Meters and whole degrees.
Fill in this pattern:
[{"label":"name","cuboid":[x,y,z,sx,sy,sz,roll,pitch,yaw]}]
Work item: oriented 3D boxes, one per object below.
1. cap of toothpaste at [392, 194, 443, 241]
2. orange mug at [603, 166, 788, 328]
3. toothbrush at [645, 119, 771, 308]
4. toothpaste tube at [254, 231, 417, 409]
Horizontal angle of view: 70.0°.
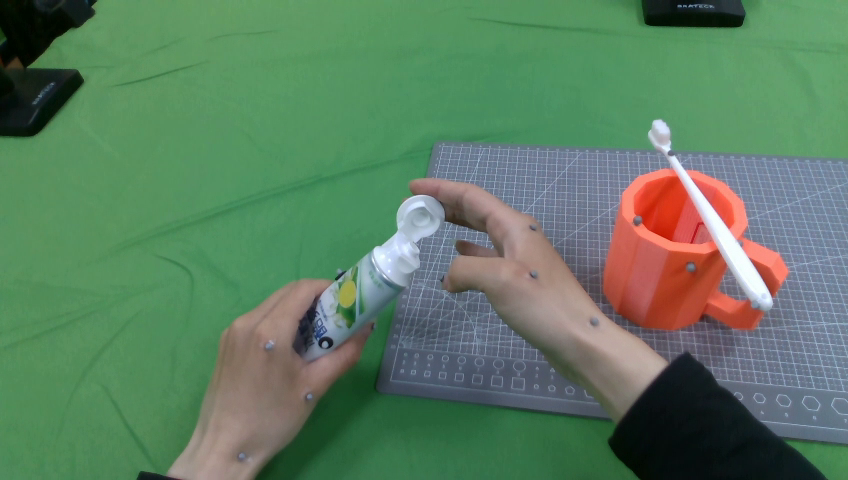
[{"label":"cap of toothpaste","cuboid":[-0.005,-0.014,0.419,0.037,0.037,0.011,-9,31,-2]},{"label":"orange mug","cuboid":[0.203,0.014,0.463,0.125,0.102,0.083,29,57,32]},{"label":"toothbrush","cuboid":[0.197,-0.027,0.429,0.014,0.017,0.180,-7,49,-4]},{"label":"toothpaste tube","cuboid":[-0.066,0.052,0.433,0.165,0.035,0.054,-43,49,18]}]
